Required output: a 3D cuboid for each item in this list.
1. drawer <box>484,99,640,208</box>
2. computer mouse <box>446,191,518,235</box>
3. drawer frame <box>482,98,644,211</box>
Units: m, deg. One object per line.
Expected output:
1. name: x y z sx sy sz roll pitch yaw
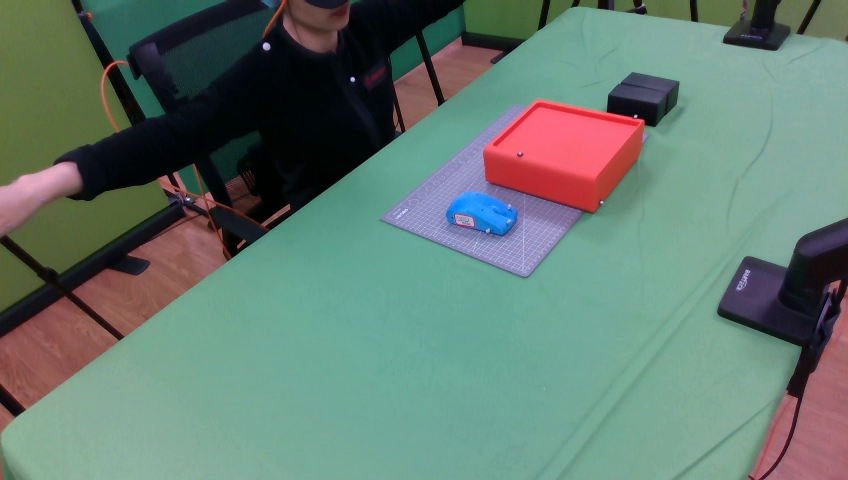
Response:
1. drawer: 0.244 -0.158 1.073 0.210 0.073 0.195 22 48 31
2. computer mouse: 0.097 -0.048 1.004 0.116 0.041 0.063 18 45 23
3. drawer frame: 0.246 -0.158 1.071 0.212 0.083 0.202 21 48 30
